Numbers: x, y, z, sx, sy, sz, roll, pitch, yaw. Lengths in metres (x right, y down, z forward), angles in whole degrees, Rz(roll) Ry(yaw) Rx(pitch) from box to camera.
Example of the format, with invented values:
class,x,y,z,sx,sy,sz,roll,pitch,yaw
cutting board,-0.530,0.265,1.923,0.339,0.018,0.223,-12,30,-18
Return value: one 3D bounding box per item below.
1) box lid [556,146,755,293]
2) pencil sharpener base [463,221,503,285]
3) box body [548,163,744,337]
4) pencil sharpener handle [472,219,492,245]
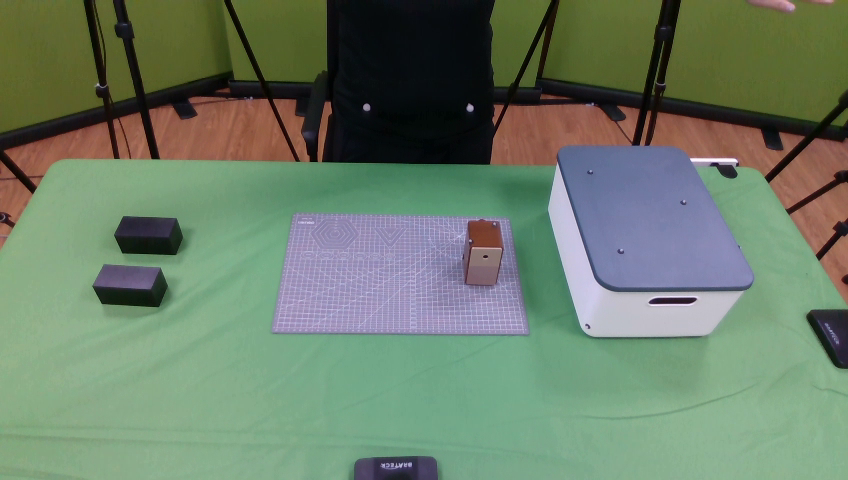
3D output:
class,x,y,z,sx,sy,sz,roll,pitch,yaw
box lid,0.394,-0.051,1.075,0.263,0.015,0.369,0,46,-4
pencil sharpener base,0.107,0.024,1.119,0.061,0.107,0.076,1,45,-2
box body,0.391,-0.001,1.130,0.254,0.161,0.361,-1,46,-4
pencil sharpener handle,0.104,-0.021,1.145,0.036,0.068,0.030,7,44,-8
